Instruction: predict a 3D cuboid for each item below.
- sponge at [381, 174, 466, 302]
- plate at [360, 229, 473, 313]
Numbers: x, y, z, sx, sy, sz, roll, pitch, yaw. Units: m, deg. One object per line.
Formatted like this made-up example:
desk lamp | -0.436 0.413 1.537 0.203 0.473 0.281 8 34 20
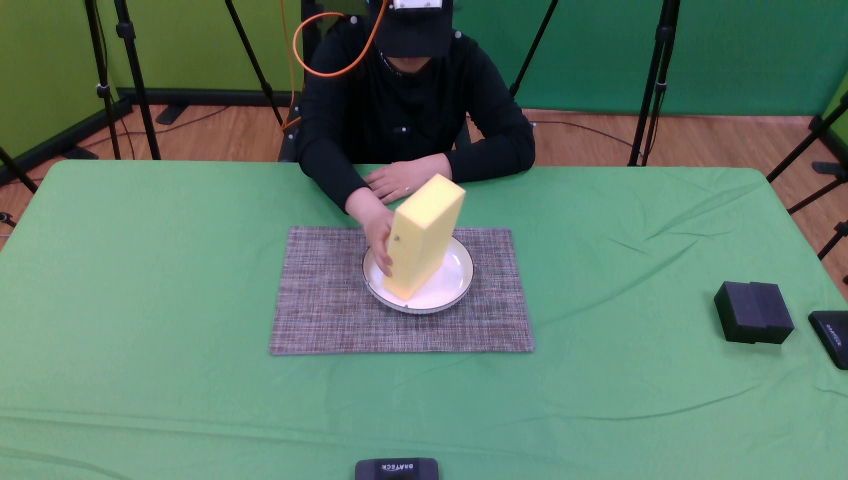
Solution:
sponge | -0.004 0.000 1.049 0.060 0.207 0.118 35 52 16
plate | -0.014 0.057 1.126 0.208 0.039 0.206 2 46 -2
